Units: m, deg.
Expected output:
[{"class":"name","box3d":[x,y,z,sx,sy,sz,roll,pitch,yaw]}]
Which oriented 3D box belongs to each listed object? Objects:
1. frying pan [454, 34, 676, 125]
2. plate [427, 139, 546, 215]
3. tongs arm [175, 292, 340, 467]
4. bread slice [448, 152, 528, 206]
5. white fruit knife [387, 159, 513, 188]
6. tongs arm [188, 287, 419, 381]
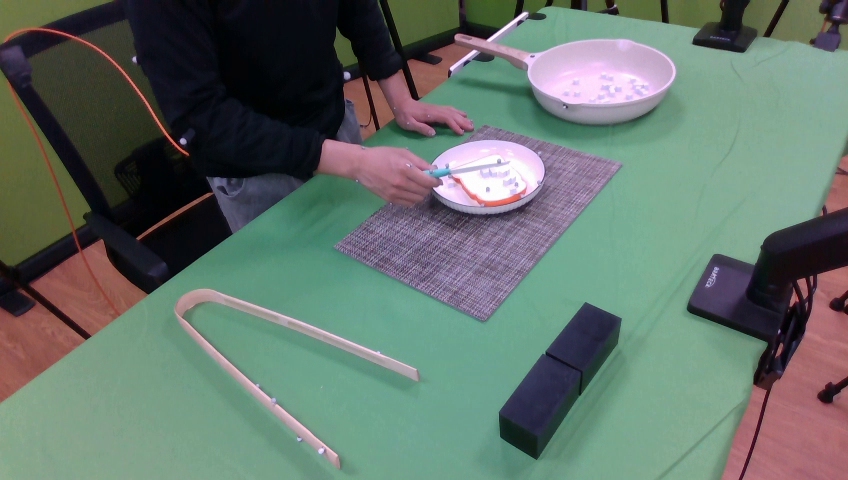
[{"class":"frying pan","box3d":[0.277,-0.370,1.295,0.485,0.103,0.307,26,49,22]},{"class":"plate","box3d":[0.109,-0.107,1.059,0.207,0.039,0.206,-4,40,4]},{"class":"tongs arm","box3d":[-0.225,0.168,0.794,0.381,0.026,0.051,26,50,33]},{"class":"bread slice","box3d":[0.118,-0.105,1.057,0.107,0.018,0.133,-24,42,-17]},{"class":"white fruit knife","box3d":[0.035,-0.106,0.934,0.206,0.027,0.016,-9,74,17]},{"class":"tongs arm","box3d":[-0.178,0.126,0.841,0.385,0.028,0.028,15,48,24]}]
